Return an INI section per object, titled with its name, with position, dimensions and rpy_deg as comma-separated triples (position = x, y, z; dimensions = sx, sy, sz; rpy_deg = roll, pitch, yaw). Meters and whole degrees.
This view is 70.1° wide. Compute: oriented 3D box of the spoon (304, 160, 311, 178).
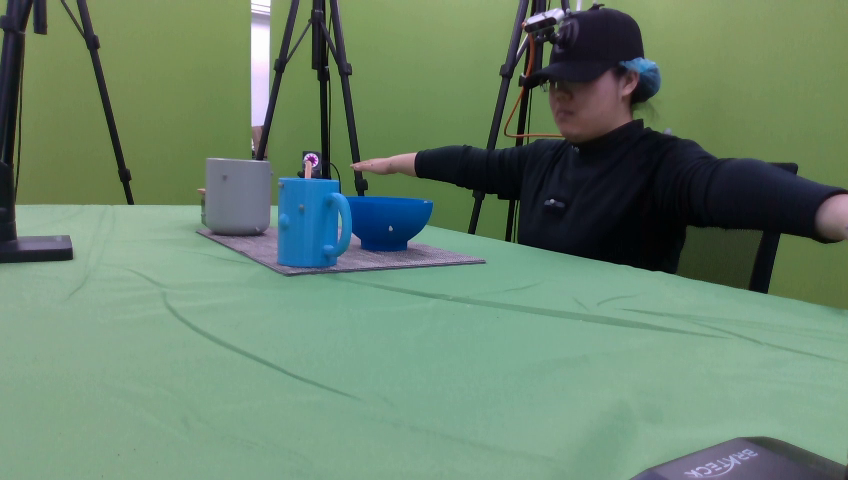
[spoon]
position = -0.242, -0.103, 1.251
dimensions = 0.042, 0.021, 0.193
rpy_deg = 0, 51, -6

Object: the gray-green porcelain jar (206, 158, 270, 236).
[gray-green porcelain jar]
position = -0.317, -0.074, 1.032
dimensions = 0.106, 0.126, 0.106
rpy_deg = 3, 7, 0

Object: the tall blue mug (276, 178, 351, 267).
[tall blue mug]
position = -0.133, -0.023, 0.767
dimensions = 0.107, 0.108, 0.078
rpy_deg = 4, 7, 12

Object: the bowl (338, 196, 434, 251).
[bowl]
position = -0.061, -0.026, 0.943
dimensions = 0.151, 0.077, 0.151
rpy_deg = 2, 7, 0

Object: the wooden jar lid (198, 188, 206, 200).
[wooden jar lid]
position = -0.382, -0.088, 1.175
dimensions = 0.108, 0.020, 0.108
rpy_deg = 3, 8, 0
